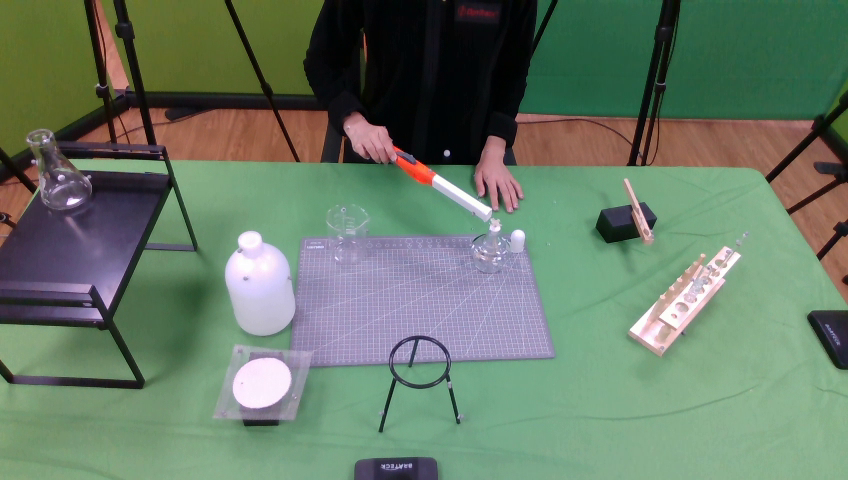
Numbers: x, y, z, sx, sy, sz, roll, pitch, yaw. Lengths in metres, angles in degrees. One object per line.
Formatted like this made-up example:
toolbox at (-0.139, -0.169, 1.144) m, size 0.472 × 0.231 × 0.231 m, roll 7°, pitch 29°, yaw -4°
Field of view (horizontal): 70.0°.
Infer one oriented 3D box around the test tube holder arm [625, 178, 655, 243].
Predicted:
test tube holder arm at (0.433, -0.062, 1.220) m, size 0.013 × 0.015 × 0.177 m, roll 1°, pitch 47°, yaw -3°

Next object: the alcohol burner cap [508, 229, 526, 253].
alcohol burner cap at (0.185, -0.002, 1.192) m, size 0.034 × 0.048 × 0.033 m, roll 3°, pitch 45°, yaw -3°

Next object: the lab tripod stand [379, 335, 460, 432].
lab tripod stand at (-0.011, 0.214, 0.911) m, size 0.148 × 0.132 × 0.147 m, roll 1°, pitch 45°, yaw 0°

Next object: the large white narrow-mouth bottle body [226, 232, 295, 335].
large white narrow-mouth bottle body at (-0.270, 0.065, 0.995) m, size 0.102 × 0.195 × 0.101 m, roll 2°, pitch 46°, yaw -2°

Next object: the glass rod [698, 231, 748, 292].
glass rod at (0.514, 0.044, 1.051) m, size 0.008 × 0.200 × 0.008 m, roll 1°, pitch 55°, yaw -1°

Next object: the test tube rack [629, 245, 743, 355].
test tube rack at (0.474, 0.095, 1.091) m, size 0.242 × 0.085 × 0.066 m, roll -34°, pitch 56°, yaw -31°

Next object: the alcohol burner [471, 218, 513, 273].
alcohol burner at (0.128, 0.005, 1.132) m, size 0.078 × 0.120 × 0.077 m, roll 0°, pitch 47°, yaw 0°

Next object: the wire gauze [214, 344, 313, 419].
wire gauze at (-0.241, 0.213, 0.915) m, size 0.121 × 0.011 × 0.124 m, roll 5°, pitch 46°, yaw 1°

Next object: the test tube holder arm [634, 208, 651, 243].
test tube holder arm at (0.428, -0.030, 1.189) m, size 0.010 × 0.015 × 0.087 m, roll 1°, pitch 47°, yaw -2°

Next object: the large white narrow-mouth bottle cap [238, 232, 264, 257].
large white narrow-mouth bottle cap at (-0.266, 0.007, 0.933) m, size 0.038 × 0.024 × 0.037 m, roll 2°, pitch 46°, yaw -2°

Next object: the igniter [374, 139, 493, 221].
igniter at (0.012, -0.118, 1.140) m, size 0.275 × 0.057 × 0.025 m, roll 34°, pitch 66°, yaw 20°

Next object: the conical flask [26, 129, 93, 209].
conical flask at (-0.575, -0.113, 0.946) m, size 0.075 × 0.122 × 0.075 m, roll 2°, pitch 46°, yaw -2°

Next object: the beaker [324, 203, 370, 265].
beaker at (-0.142, -0.009, 1.137) m, size 0.084 × 0.101 × 0.073 m, roll -3°, pitch 47°, yaw -7°

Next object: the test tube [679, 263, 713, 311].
test tube at (0.453, 0.092, 1.023) m, size 0.017 × 0.151 × 0.017 m, roll 1°, pitch 49°, yaw -1°
